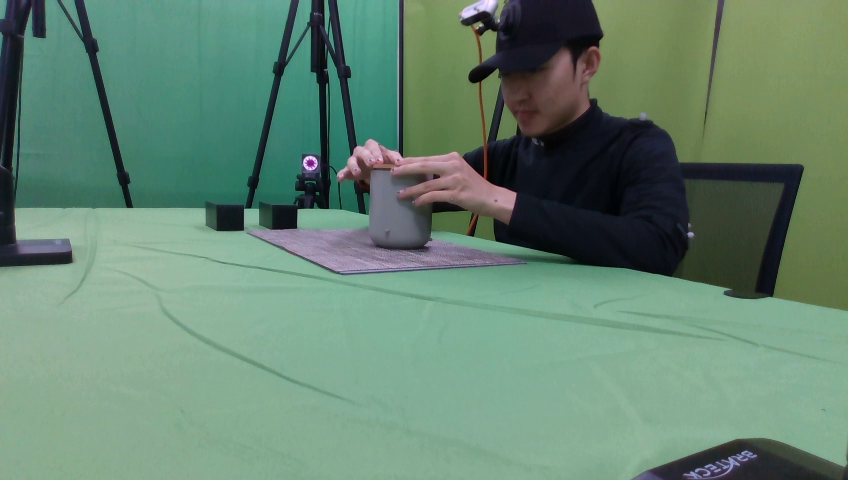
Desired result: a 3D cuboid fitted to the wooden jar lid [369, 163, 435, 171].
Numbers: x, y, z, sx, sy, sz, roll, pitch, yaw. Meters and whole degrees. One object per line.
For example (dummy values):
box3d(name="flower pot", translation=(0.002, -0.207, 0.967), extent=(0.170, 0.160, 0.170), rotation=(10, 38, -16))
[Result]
box3d(name="wooden jar lid", translation=(-0.036, -0.115, 0.993), extent=(0.108, 0.020, 0.108), rotation=(3, 4, 0))

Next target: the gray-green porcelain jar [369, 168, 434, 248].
box3d(name="gray-green porcelain jar", translation=(-0.038, -0.054, 1.002), extent=(0.106, 0.126, 0.106), rotation=(2, 7, 0))
